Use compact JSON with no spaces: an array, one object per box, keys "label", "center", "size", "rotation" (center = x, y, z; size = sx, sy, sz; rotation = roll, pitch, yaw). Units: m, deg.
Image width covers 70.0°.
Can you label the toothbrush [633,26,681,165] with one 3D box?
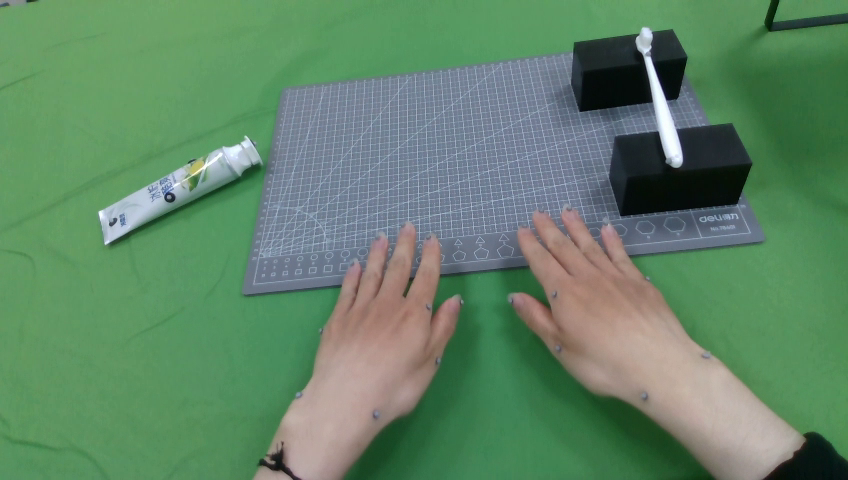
[{"label":"toothbrush","center":[0.210,-0.136,0.547],"size":[0.014,0.017,0.180],"rotation":[7,53,-4]}]

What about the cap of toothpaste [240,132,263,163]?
[{"label":"cap of toothpaste","center":[-0.181,-0.095,0.633],"size":[0.011,0.038,0.037],"rotation":[-33,53,-17]}]

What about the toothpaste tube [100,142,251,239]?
[{"label":"toothpaste tube","center":[-0.252,-0.058,0.621],"size":[0.165,0.035,0.054],"rotation":[-29,46,-9]}]
